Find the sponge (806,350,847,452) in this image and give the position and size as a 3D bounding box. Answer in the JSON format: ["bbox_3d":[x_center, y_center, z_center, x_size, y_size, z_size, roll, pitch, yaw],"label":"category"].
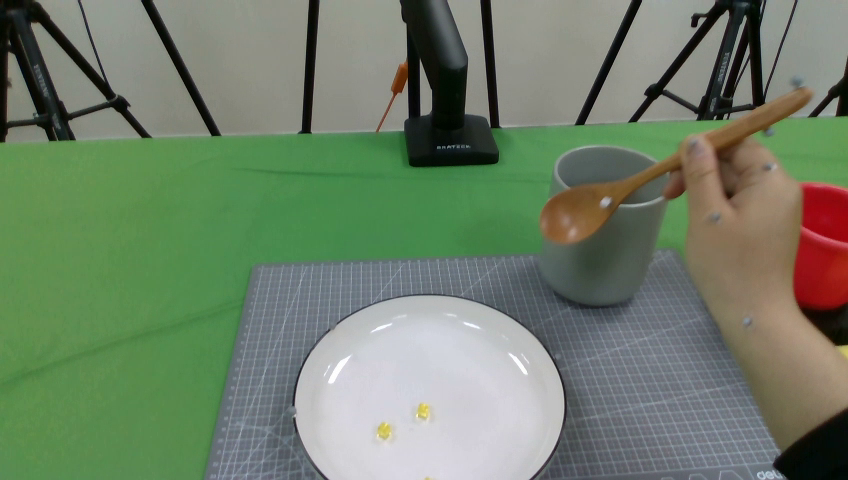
[{"bbox_3d":[0.394,0.167,0.422,0.118,0.061,0.204,-5,38,-8],"label":"sponge"}]

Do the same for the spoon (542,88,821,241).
[{"bbox_3d":[0.159,-0.046,0.404,0.022,0.193,0.041,-2,71,-43],"label":"spoon"}]

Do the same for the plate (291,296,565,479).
[{"bbox_3d":[0.004,0.127,0.476,0.208,0.039,0.205,1,38,0],"label":"plate"}]

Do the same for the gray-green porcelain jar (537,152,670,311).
[{"bbox_3d":[0.165,-0.004,0.579,0.106,0.127,0.105,1,38,0],"label":"gray-green porcelain jar"}]
